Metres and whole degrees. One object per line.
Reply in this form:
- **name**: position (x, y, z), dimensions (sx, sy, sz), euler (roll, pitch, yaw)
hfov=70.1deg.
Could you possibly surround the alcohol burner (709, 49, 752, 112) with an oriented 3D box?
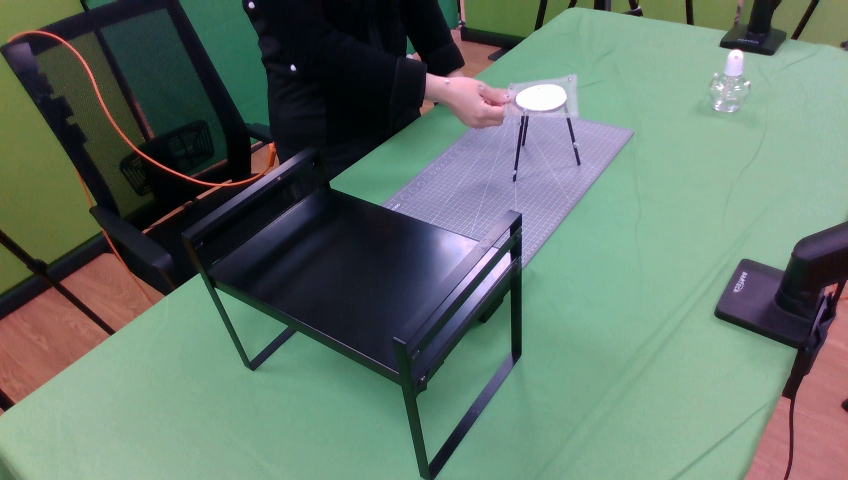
- **alcohol burner**: position (0.600, -0.313, 1.178), dimensions (0.078, 0.119, 0.077), euler (-5, 40, 5)

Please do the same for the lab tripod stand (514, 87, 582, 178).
- **lab tripod stand**: position (0.211, -0.196, 1.082), dimensions (0.148, 0.132, 0.147), euler (-3, 40, 3)

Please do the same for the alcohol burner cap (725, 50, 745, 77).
- **alcohol burner cap**: position (0.596, -0.340, 1.154), dimensions (0.034, 0.048, 0.033), euler (-8, 45, 8)

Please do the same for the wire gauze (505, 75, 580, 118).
- **wire gauze**: position (0.203, -0.245, 1.035), dimensions (0.125, 0.011, 0.121), euler (1, 44, 14)
